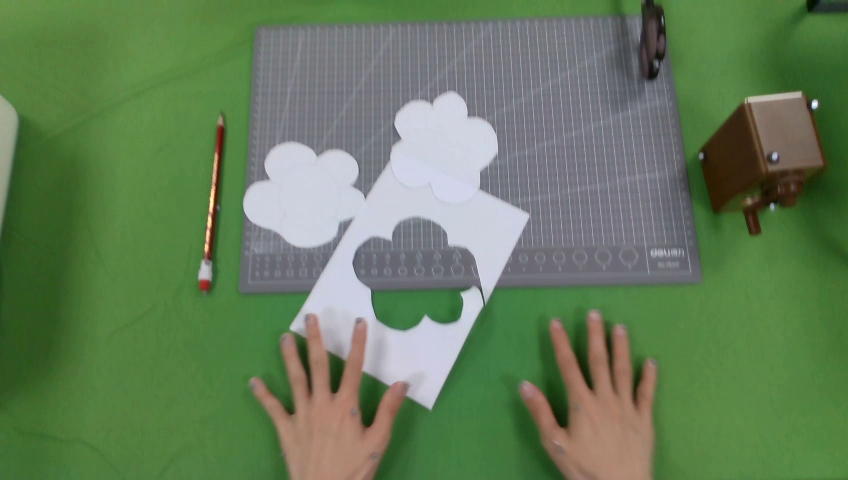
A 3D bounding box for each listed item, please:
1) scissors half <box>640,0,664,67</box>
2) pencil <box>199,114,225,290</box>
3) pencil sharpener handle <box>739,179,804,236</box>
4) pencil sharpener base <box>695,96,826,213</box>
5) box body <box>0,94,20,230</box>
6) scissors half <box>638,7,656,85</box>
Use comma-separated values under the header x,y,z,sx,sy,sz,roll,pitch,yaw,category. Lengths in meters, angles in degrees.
x,y,z,sx,sy,sz,roll,pitch,yaw,category
0.230,-0.253,0.626,0.013,0.040,0.173,0,64,4,scissors half
-0.216,-0.044,0.621,0.012,0.012,0.193,-1,72,1,pencil
0.310,-0.028,0.541,0.036,0.068,0.030,-2,73,-13,pencil sharpener handle
0.310,-0.073,0.567,0.061,0.107,0.076,-6,74,0,pencil sharpener base
-0.546,-0.001,0.534,0.254,0.161,0.362,-1,73,1,box body
0.233,-0.247,0.645,0.013,0.040,0.174,-1,81,9,scissors half
